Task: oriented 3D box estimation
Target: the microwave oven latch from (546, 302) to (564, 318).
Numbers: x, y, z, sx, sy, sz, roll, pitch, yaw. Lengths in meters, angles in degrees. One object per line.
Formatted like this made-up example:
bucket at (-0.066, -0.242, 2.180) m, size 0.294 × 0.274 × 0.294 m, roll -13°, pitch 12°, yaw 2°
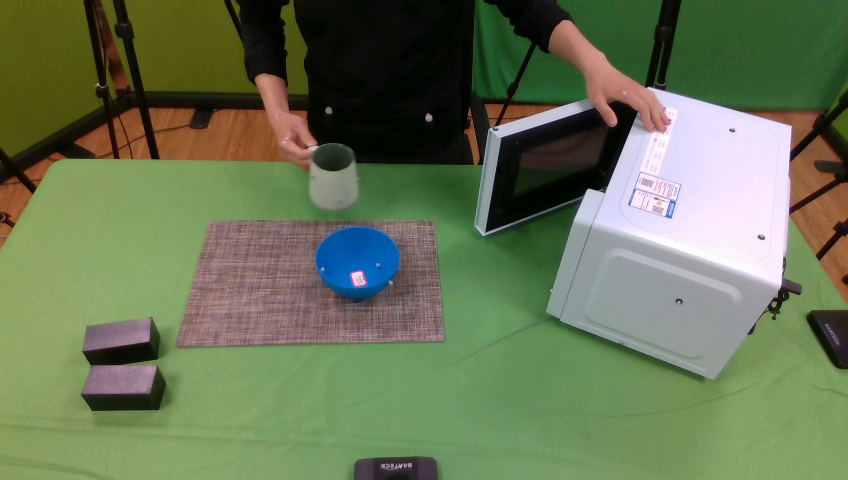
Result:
microwave oven latch at (0.242, 0.102, 1.081) m, size 0.030 × 0.029 × 0.079 m, roll 21°, pitch 48°, yaw 17°

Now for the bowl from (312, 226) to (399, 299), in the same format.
bowl at (-0.120, 0.054, 1.091) m, size 0.151 × 0.077 × 0.150 m, roll 2°, pitch 46°, yaw -2°

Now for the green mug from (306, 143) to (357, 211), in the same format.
green mug at (-0.183, -0.126, 1.142) m, size 0.092 × 0.105 × 0.124 m, roll -33°, pitch 59°, yaw -28°

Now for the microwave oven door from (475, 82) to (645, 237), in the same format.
microwave oven door at (0.268, -0.160, 1.193) m, size 0.356 × 0.245 × 0.039 m, roll -21°, pitch 50°, yaw -22°

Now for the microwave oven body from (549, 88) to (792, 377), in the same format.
microwave oven body at (0.456, -0.028, 1.088) m, size 0.325 × 0.261 × 0.440 m, roll 20°, pitch 47°, yaw 16°
